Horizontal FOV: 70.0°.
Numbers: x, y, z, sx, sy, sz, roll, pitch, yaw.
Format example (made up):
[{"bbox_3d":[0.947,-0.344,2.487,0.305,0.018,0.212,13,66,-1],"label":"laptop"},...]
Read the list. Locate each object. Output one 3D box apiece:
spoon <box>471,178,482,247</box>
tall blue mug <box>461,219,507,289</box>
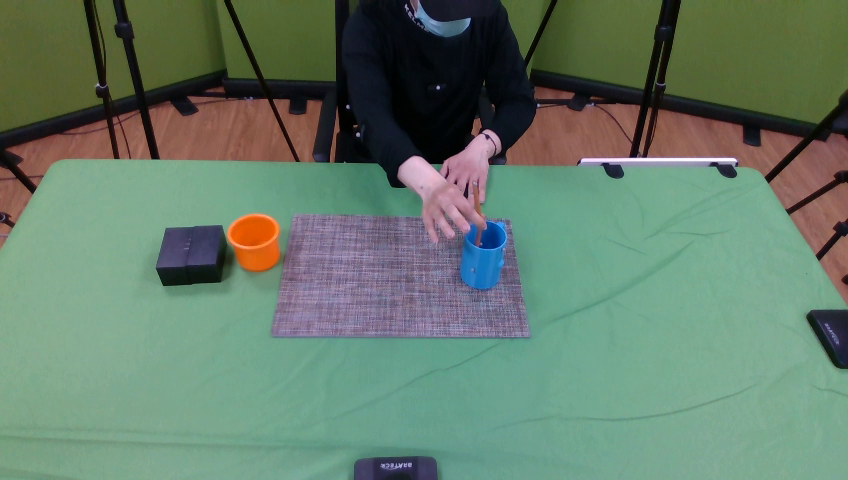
[{"bbox_3d":[0.094,-0.025,1.057,0.021,0.194,0.041,-2,35,3],"label":"spoon"},{"bbox_3d":[0.111,0.016,1.122,0.078,0.108,0.106,6,46,4],"label":"tall blue mug"}]
